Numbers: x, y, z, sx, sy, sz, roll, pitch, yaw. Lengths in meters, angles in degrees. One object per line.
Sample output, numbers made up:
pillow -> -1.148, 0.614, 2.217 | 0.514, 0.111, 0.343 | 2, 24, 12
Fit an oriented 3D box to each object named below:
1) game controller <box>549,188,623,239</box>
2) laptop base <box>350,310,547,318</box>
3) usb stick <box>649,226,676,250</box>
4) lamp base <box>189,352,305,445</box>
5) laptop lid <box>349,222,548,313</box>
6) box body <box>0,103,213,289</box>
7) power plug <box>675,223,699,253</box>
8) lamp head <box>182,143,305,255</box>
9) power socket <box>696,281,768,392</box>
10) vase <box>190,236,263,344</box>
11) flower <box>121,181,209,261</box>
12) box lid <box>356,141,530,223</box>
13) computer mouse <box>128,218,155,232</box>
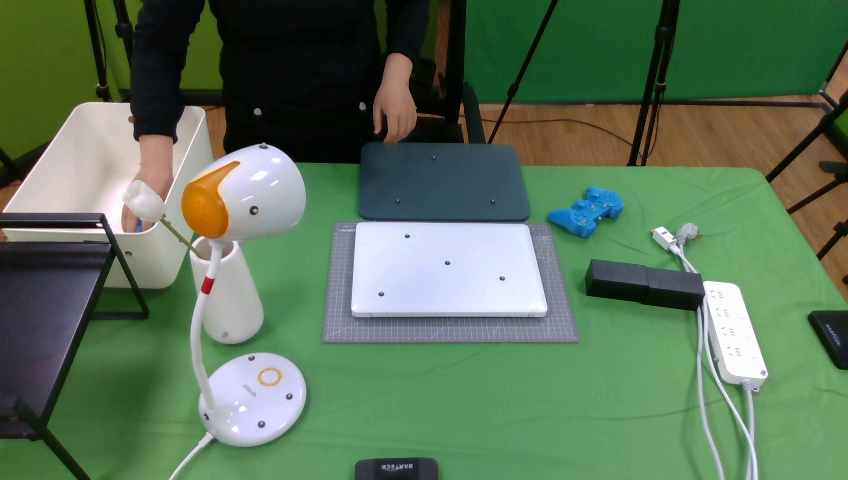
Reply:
game controller -> 0.346, -0.065, 1.272 | 0.155, 0.052, 0.096 | -31, 58, -29
laptop base -> 0.041, 0.056, 1.149 | 0.355, 0.023, 0.234 | 0, 42, -4
usb stick -> 0.485, -0.008, 1.237 | 0.021, 0.027, 0.059 | -22, 44, -13
lamp base -> -0.268, 0.196, 0.876 | 0.160, 0.181, 0.179 | 25, 52, 20
laptop lid -> 0.042, 0.046, 1.142 | 0.357, 0.013, 0.240 | 2, 44, -3
box body -> -0.563, -0.087, 1.140 | 0.254, 0.161, 0.361 | 2, 46, -3
power plug -> 0.538, 0.000, 1.243 | 0.053, 0.035, 0.072 | 19, 81, -17
lamp head -> -0.216, -0.044, 0.697 | 0.112, 0.113, 0.123 | 23, 31, 17
power socket -> 0.543, 0.161, 1.077 | 0.072, 0.033, 0.225 | 6, 46, 2
vase -> -0.317, 0.081, 0.971 | 0.098, 0.201, 0.097 | 3, 47, -3
flower -> -0.329, 0.029, 0.905 | 0.038, 0.364, 0.044 | -22, 58, -1
box lid -> 0.040, -0.132, 1.339 | 0.372, 0.015, 0.261 | 0, 46, -4
computer mouse -> -0.510, 0.000, 1.110 | 0.063, 0.041, 0.116 | 2, 51, -4
